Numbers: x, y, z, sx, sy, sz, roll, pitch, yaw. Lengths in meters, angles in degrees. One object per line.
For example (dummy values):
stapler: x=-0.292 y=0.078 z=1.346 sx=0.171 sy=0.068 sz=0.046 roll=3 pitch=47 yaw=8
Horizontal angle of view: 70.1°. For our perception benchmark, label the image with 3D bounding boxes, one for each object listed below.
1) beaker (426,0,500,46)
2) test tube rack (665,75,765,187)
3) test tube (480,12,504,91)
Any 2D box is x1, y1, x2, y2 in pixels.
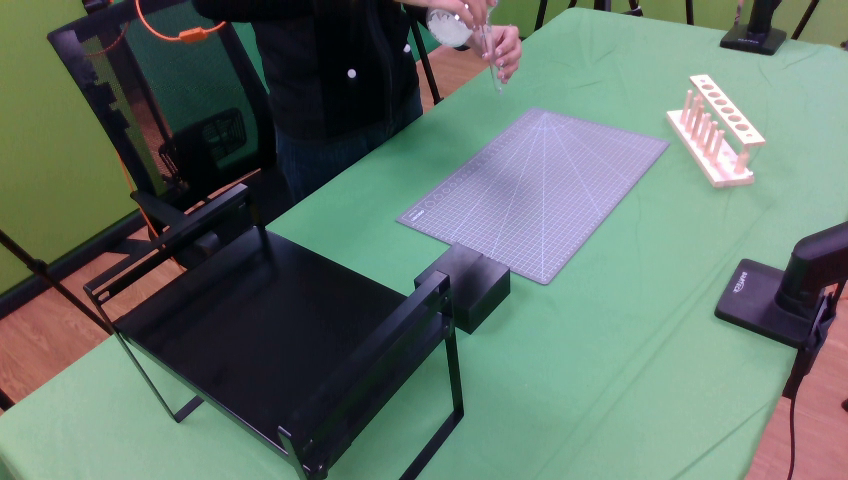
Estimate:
beaker: x=0.056 y=-0.334 z=0.876 sx=0.073 sy=0.084 sz=0.100 roll=19 pitch=59 yaw=34
test tube rack: x=0.512 y=-0.201 z=1.082 sx=0.067 sy=0.085 sz=0.241 roll=-6 pitch=41 yaw=2
test tube: x=0.111 y=-0.302 z=0.982 sx=0.017 sy=0.151 sz=0.017 roll=-9 pitch=53 yaw=12
